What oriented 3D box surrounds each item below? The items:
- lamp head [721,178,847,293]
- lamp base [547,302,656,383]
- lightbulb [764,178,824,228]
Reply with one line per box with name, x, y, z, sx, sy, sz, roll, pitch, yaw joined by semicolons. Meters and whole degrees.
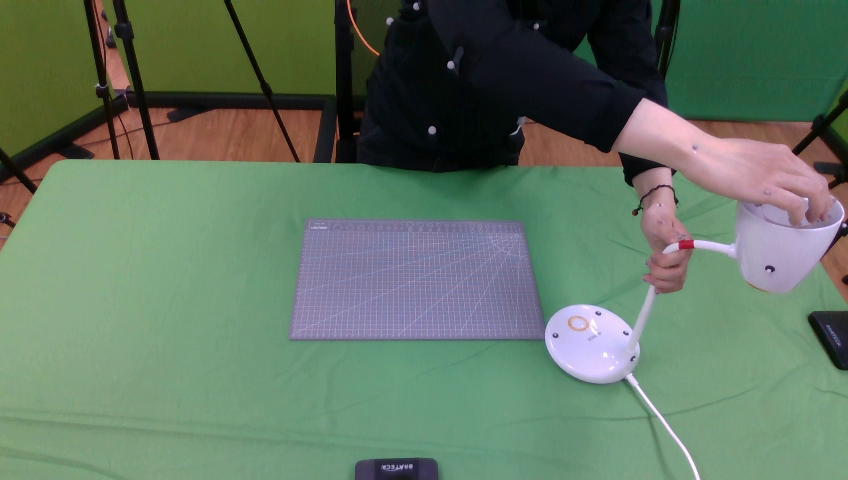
lamp head;0.423;0.001;0.726;0.112;0.123;0.112;0;38;0
lamp base;0.304;0.127;0.982;0.160;0.181;0.178;-33;59;-29
lightbulb;0.429;-0.020;0.710;0.059;0.108;0.059;-6;31;4
